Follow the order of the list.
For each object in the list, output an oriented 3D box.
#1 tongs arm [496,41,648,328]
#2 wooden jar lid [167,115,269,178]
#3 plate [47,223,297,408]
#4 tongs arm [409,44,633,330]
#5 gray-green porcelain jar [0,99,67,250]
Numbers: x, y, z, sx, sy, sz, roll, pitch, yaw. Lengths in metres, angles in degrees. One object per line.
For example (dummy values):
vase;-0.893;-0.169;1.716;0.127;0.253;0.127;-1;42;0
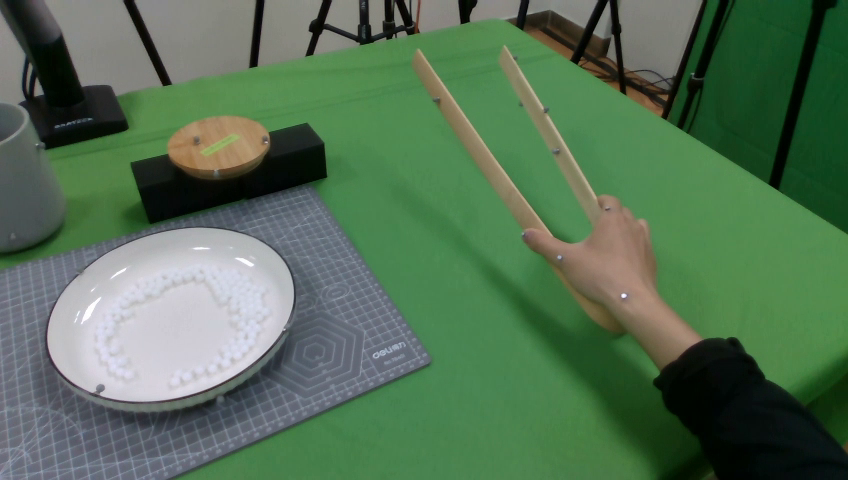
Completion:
tongs arm;0.141;-0.081;0.658;0.051;0.026;0.381;-8;59;-27
wooden jar lid;-0.228;-0.104;0.677;0.108;0.021;0.107;3;43;-2
plate;-0.220;0.065;0.549;0.209;0.038;0.207;2;43;-1
tongs arm;0.082;-0.069;0.628;0.028;0.028;0.384;-15;62;-35
gray-green porcelain jar;-0.433;-0.061;0.610;0.106;0.127;0.105;2;42;-1
